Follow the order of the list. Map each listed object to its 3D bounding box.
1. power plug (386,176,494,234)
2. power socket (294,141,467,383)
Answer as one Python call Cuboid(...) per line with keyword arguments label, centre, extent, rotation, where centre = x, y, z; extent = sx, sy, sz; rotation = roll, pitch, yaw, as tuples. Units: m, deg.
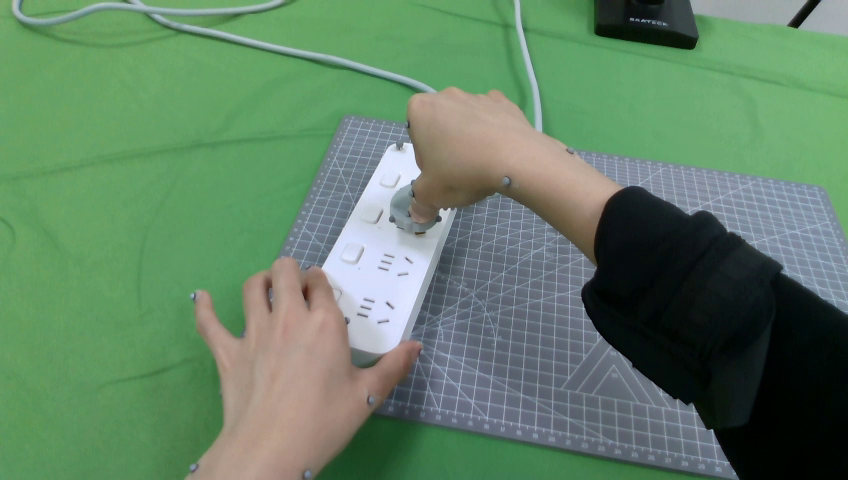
Cuboid(label="power plug", centre=(0.007, -0.017, 0.428), extent=(0.072, 0.053, 0.035), rotation=(24, 57, 14))
Cuboid(label="power socket", centre=(-0.024, 0.002, 0.450), extent=(0.072, 0.033, 0.225), rotation=(15, 48, 8))
